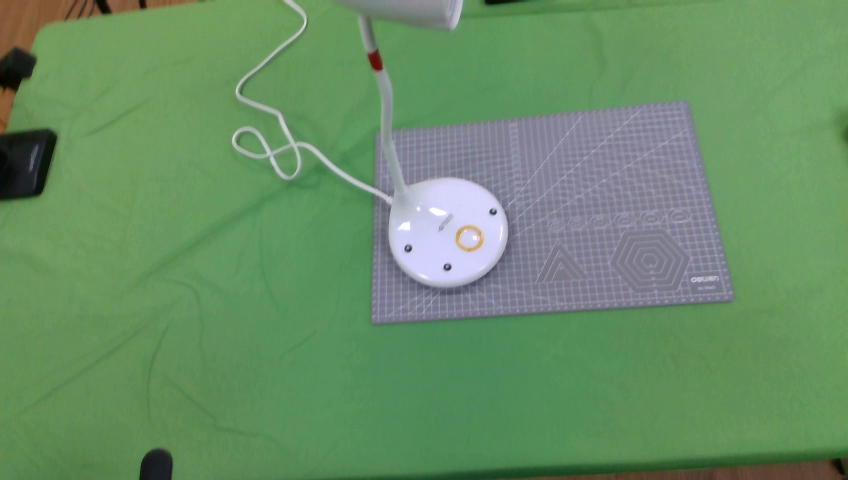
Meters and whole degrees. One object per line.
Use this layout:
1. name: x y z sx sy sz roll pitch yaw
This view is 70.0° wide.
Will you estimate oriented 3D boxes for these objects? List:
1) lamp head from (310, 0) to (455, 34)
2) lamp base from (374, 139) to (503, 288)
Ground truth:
1. lamp head: -0.038 -0.213 0.463 0.122 0.113 0.111 1 65 15
2. lamp base: 0.003 -0.048 0.743 0.178 0.182 0.160 20 69 20
